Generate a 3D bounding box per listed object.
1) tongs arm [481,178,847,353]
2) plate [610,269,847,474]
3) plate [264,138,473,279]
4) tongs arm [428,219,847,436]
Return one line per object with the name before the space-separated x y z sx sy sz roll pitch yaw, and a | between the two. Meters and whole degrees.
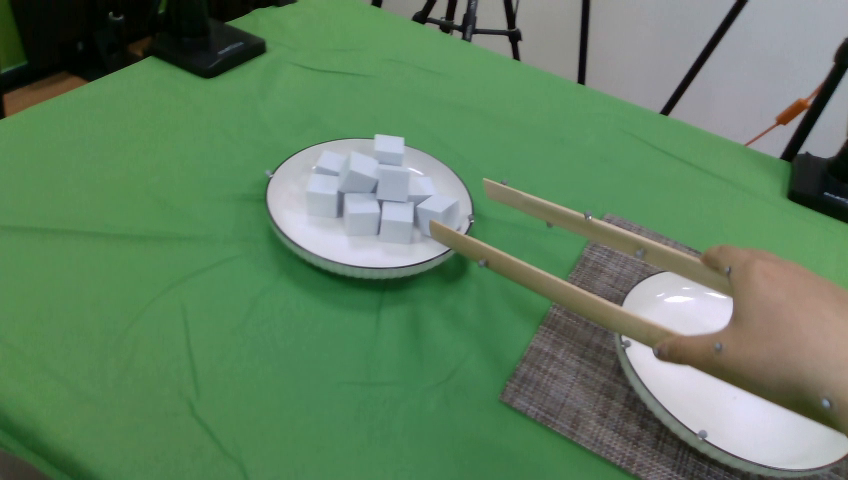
tongs arm | 0.176 0.027 0.452 0.381 0.027 0.050 26 53 38
plate | 0.261 0.109 0.530 0.208 0.039 0.205 6 43 -5
plate | -0.055 -0.032 0.619 0.209 0.038 0.207 6 42 -6
tongs arm | 0.146 0.052 0.434 0.384 0.028 0.028 24 49 37
